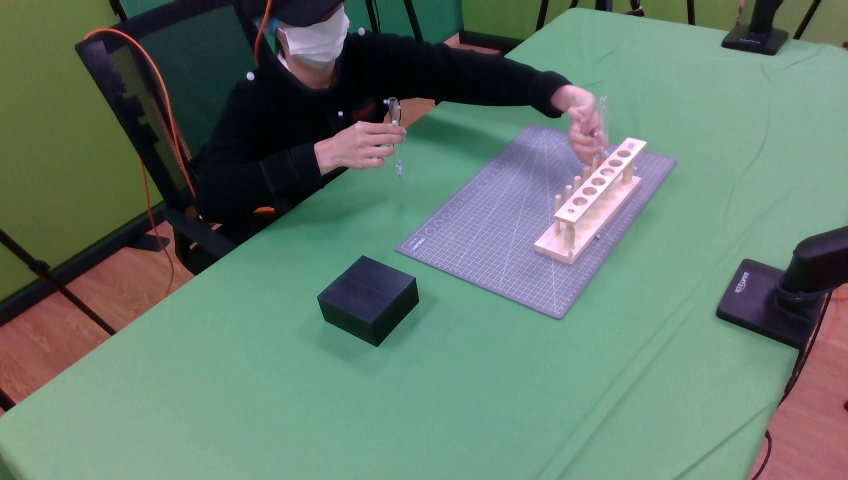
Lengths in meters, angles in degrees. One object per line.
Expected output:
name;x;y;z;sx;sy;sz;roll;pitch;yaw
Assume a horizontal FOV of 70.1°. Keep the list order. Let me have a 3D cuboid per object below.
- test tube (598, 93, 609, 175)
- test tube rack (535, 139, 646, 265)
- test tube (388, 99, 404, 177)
test tube;0.286;-0.166;0.964;0.017;0.151;0.017;-8;43;8
test tube rack;0.269;-0.071;0.964;0.066;0.085;0.243;23;49;32
test tube;-0.047;-0.169;1.019;0.017;0.151;0.017;-2;43;3
